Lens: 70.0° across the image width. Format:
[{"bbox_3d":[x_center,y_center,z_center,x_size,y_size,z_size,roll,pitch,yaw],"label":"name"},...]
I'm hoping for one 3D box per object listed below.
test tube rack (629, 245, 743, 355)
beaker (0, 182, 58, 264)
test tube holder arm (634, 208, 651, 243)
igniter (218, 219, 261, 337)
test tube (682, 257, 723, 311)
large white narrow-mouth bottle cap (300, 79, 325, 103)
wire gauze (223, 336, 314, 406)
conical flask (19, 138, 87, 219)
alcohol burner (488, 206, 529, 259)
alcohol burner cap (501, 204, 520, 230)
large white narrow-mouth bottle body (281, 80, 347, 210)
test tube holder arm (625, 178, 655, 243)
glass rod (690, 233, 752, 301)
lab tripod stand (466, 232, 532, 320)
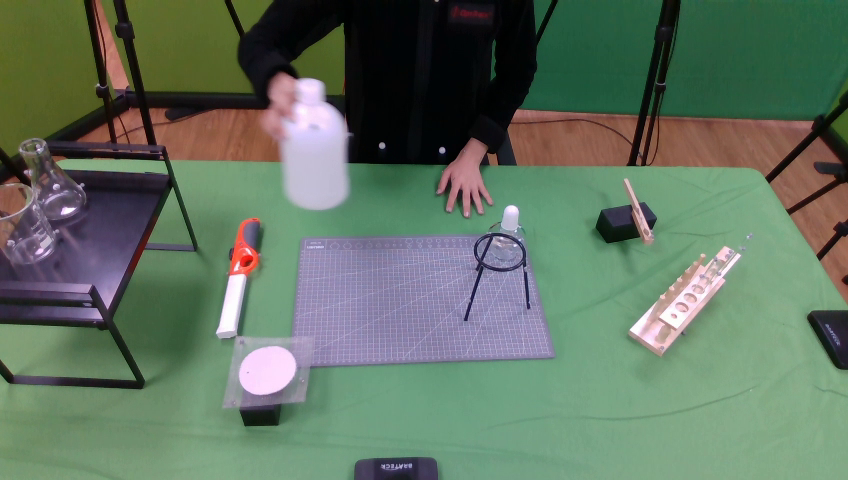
[{"bbox_3d":[0.474,0.095,1.091,0.242,0.085,0.066,-34,56,-31],"label":"test tube rack"},{"bbox_3d":[-0.582,-0.019,0.870,0.074,0.101,0.083,5,47,1],"label":"beaker"},{"bbox_3d":[0.428,-0.030,1.189,0.010,0.015,0.087,2,47,-3],"label":"test tube holder arm"},{"bbox_3d":[-0.336,0.060,1.111,0.057,0.025,0.274,-8,46,3],"label":"igniter"},{"bbox_3d":[0.475,0.080,1.037,0.017,0.151,0.017,1,51,-1],"label":"test tube"},{"bbox_3d":[-0.161,-0.216,0.879,0.038,0.024,0.037,4,38,-3],"label":"large white narrow-mouth bottle cap"},{"bbox_3d":[-0.237,0.197,0.931,0.121,0.011,0.124,1,45,-4],"label":"wire gauze"},{"bbox_3d":[-0.576,-0.097,0.930,0.075,0.122,0.075,2,46,-2],"label":"conical flask"},{"bbox_3d":[0.163,-0.020,1.158,0.078,0.120,0.077,1,47,0],"label":"alcohol burner"},{"bbox_3d":[0.164,-0.046,1.133,0.034,0.048,0.033,2,40,-2],"label":"alcohol burner cap"},{"bbox_3d":[-0.168,-0.150,0.934,0.102,0.195,0.101,4,38,-3],"label":"large white narrow-mouth bottle body"},{"bbox_3d":[0.433,-0.063,1.220,0.013,0.015,0.177,1,47,-3],"label":"test tube holder arm"},{"bbox_3d":[0.507,0.053,1.041,0.008,0.200,0.008,5,51,-6],"label":"glass rod"},{"bbox_3d":[0.125,0.059,1.065,0.148,0.132,0.147,1,45,0],"label":"lab tripod stand"}]
